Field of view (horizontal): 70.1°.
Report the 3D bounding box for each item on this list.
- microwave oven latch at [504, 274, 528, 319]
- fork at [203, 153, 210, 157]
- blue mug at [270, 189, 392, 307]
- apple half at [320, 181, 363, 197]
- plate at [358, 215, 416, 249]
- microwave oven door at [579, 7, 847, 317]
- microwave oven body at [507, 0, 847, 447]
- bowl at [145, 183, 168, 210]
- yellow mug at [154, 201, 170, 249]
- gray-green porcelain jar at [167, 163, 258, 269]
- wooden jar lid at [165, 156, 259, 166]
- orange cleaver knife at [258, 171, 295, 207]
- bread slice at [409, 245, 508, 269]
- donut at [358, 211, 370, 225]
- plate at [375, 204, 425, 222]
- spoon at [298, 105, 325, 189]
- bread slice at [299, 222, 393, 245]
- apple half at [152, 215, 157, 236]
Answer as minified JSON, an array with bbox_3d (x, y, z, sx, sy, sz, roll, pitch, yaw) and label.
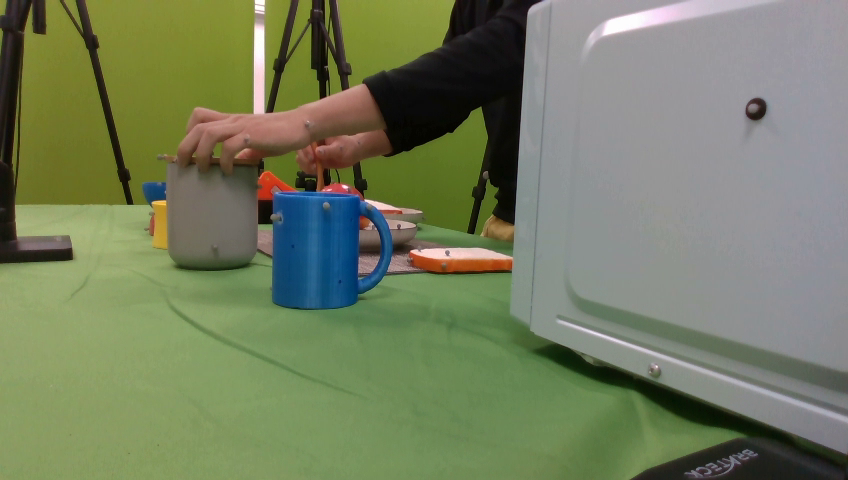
[{"bbox_3d":[0.100,0.041,0.469,0.079,0.029,0.030,-1,7,-25],"label":"microwave oven latch"},{"bbox_3d":[-0.480,-0.135,1.411,0.028,0.018,0.207,1,-34,-1],"label":"fork"},{"bbox_3d":[-0.089,0.005,0.588,0.117,0.106,0.082,0,7,-10],"label":"blue mug"},{"bbox_3d":[-0.130,-0.077,0.954,0.081,0.033,0.081,6,10,-1],"label":"apple half"},{"bbox_3d":[-0.116,-0.014,0.967,0.208,0.039,0.207,2,8,0],"label":"plate"},{"bbox_3d":[0.294,-0.067,0.570,0.358,0.243,0.039,-3,9,-31],"label":"microwave oven door"},{"bbox_3d":[0.331,-0.042,0.425,0.444,0.260,0.324,-2,8,-31],"label":"microwave oven body"},{"bbox_3d":[-0.459,-0.069,1.175,0.151,0.077,0.151,3,7,0],"label":"bowl"},{"bbox_3d":[-0.337,-0.023,0.899,0.130,0.064,0.100,8,10,34],"label":"yellow mug"},{"bbox_3d":[-0.261,-0.031,0.753,0.106,0.126,0.106,2,7,0],"label":"gray-green porcelain jar"},{"bbox_3d":[-0.259,-0.092,0.745,0.108,0.020,0.108,2,10,0],"label":"wooden jar lid"},{"bbox_3d":[-0.283,-0.087,1.343,0.212,0.077,0.012,24,-16,-41],"label":"orange cleaver knife"},{"bbox_3d":[0.048,0.021,0.816,0.132,0.019,0.104,0,7,-24],"label":"bread slice"},{"bbox_3d":[-0.133,-0.042,0.959,0.099,0.048,0.099,-1,7,0],"label":"donut"},{"bbox_3d":[-0.102,-0.053,1.299,0.209,0.038,0.209,2,8,0],"label":"plate"},{"bbox_3d":[-0.178,-0.130,1.006,0.021,0.193,0.042,-8,7,21],"label":"spoon"},{"bbox_3d":[-0.119,-0.012,0.971,0.106,0.018,0.135,13,13,39],"label":"bread slice"},{"bbox_3d":[-0.415,-0.034,1.017,0.081,0.053,0.074,1,10,-9],"label":"apple half"}]
